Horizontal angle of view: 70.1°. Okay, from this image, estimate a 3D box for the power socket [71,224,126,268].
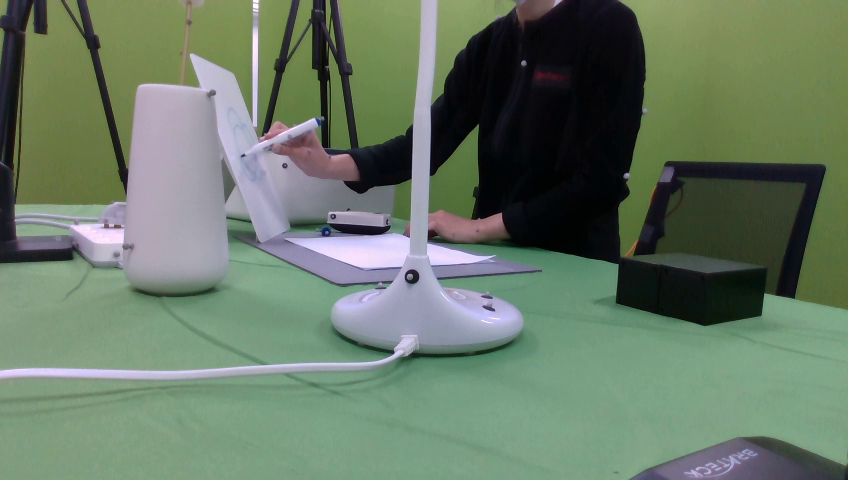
[{"bbox_3d":[-0.409,0.004,0.793,0.072,0.032,0.225,-2,8,-37],"label":"power socket"}]

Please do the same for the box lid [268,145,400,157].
[{"bbox_3d":[-0.263,-0.203,1.369,0.262,0.015,0.373,9,10,39],"label":"box lid"}]

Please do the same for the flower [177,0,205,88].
[{"bbox_3d":[-0.243,-0.131,0.609,0.044,0.361,0.038,-5,-12,11],"label":"flower"}]

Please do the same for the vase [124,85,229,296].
[{"bbox_3d":[-0.244,-0.047,0.598,0.098,0.200,0.098,3,8,0],"label":"vase"}]

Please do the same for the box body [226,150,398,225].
[{"bbox_3d":[-0.265,-0.129,1.380,0.253,0.160,0.366,8,9,39],"label":"box body"}]

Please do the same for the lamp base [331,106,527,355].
[{"bbox_3d":[0.006,-0.012,0.478,0.161,0.180,0.179,2,10,2],"label":"lamp base"}]

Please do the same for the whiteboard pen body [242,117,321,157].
[{"bbox_3d":[-0.234,-0.167,0.988,0.141,0.017,0.017,-26,12,-8],"label":"whiteboard pen body"}]

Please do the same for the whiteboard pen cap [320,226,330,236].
[{"bbox_3d":[-0.176,-0.016,1.075,0.018,0.018,0.033,1,5,-13],"label":"whiteboard pen cap"}]

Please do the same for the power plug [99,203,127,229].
[{"bbox_3d":[-0.415,-0.026,0.848,0.073,0.052,0.035,6,5,-28],"label":"power plug"}]

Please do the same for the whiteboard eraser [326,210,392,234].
[{"bbox_3d":[-0.121,-0.033,1.131,0.112,0.042,0.056,4,8,13],"label":"whiteboard eraser"}]

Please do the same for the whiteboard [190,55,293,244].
[{"bbox_3d":[-0.362,-0.129,1.029,0.144,0.305,0.217,-18,7,3],"label":"whiteboard"}]
